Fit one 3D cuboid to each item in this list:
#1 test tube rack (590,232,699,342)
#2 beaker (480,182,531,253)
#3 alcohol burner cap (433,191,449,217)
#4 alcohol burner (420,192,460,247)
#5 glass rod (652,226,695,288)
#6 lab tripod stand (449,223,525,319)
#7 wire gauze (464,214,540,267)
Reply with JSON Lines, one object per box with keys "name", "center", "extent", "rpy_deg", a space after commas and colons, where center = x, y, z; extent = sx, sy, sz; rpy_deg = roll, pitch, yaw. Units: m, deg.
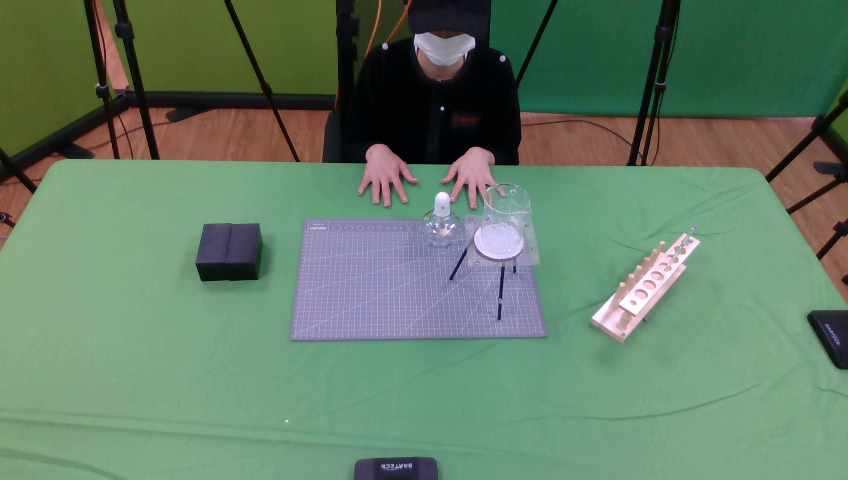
{"name": "test tube rack", "center": [0.407, 0.074, 1.112], "extent": [0.066, 0.085, 0.242], "rpy_deg": [35, 53, 26]}
{"name": "beaker", "center": [0.133, -0.033, 0.998], "extent": [0.083, 0.101, 0.074], "rpy_deg": [26, 51, 22]}
{"name": "alcohol burner cap", "center": [0.033, -0.070, 1.150], "extent": [0.034, 0.048, 0.033], "rpy_deg": [0, 45, 0]}
{"name": "alcohol burner", "center": [0.032, -0.045, 1.176], "extent": [0.078, 0.120, 0.077], "rpy_deg": [2, 44, -1]}
{"name": "glass rod", "center": [0.432, 0.037, 1.057], "extent": [0.008, 0.200, 0.008], "rpy_deg": [1, 54, -1]}
{"name": "lab tripod stand", "center": [0.120, 0.046, 1.080], "extent": [0.148, 0.132, 0.147], "rpy_deg": [1, 47, -1]}
{"name": "wire gauze", "center": [0.131, -0.001, 1.035], "extent": [0.121, 0.011, 0.124], "rpy_deg": [1, 44, -2]}
